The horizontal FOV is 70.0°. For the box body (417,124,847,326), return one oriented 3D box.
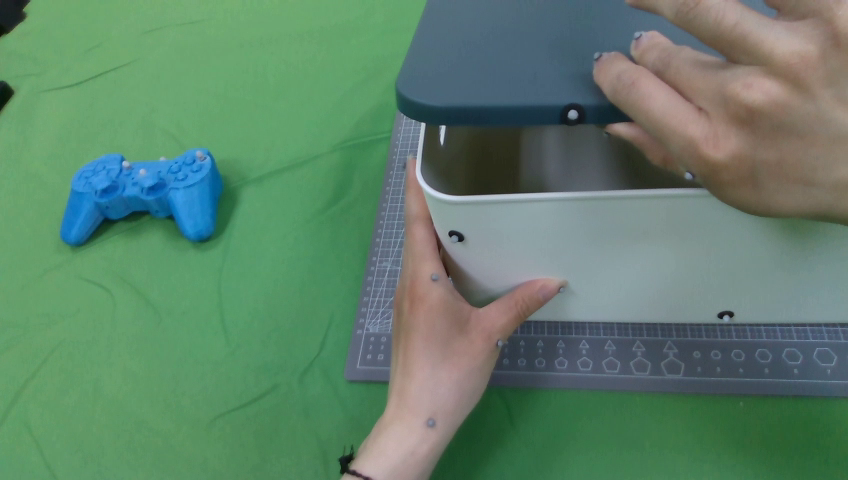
[{"bbox_3d":[0.195,-0.077,0.439,0.363,0.162,0.252,-1,53,10],"label":"box body"}]

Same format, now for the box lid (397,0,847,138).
[{"bbox_3d":[0.178,-0.138,0.364,0.371,0.015,0.261,0,41,10],"label":"box lid"}]

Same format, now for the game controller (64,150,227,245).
[{"bbox_3d":[-0.265,-0.045,0.579,0.155,0.052,0.096,-1,50,9],"label":"game controller"}]
